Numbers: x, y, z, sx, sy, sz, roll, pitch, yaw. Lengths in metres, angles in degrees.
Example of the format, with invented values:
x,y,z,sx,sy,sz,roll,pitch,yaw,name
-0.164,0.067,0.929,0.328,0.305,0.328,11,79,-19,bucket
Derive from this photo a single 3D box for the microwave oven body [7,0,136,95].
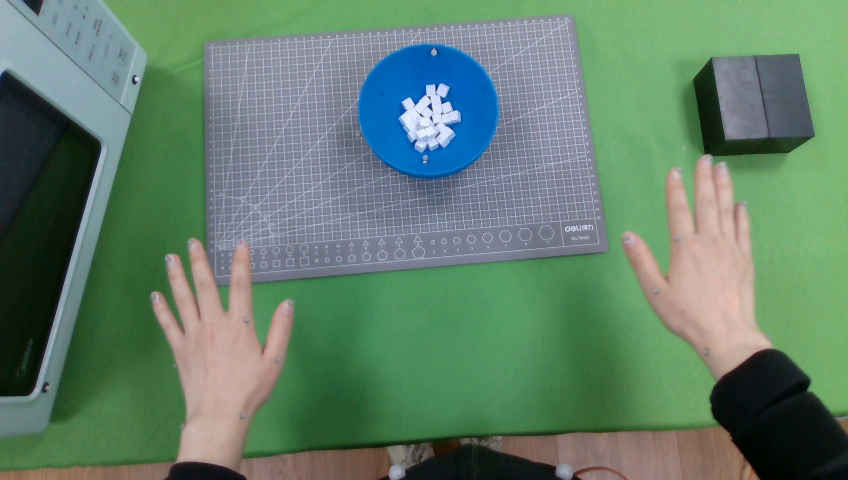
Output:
x,y,z,sx,sy,sz,roll,pitch,yaw,name
-0.516,-0.068,0.562,0.326,0.261,0.440,9,78,1,microwave oven body

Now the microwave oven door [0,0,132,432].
x,y,z,sx,sy,sz,roll,pitch,yaw,name
-0.378,-0.006,0.544,0.039,0.245,0.354,9,78,2,microwave oven door

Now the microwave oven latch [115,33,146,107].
x,y,z,sx,sy,sz,roll,pitch,yaw,name
-0.341,-0.194,0.689,0.030,0.029,0.079,10,79,1,microwave oven latch

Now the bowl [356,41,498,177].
x,y,z,sx,sy,sz,roll,pitch,yaw,name
0.004,-0.133,0.673,0.151,0.077,0.150,0,78,0,bowl
